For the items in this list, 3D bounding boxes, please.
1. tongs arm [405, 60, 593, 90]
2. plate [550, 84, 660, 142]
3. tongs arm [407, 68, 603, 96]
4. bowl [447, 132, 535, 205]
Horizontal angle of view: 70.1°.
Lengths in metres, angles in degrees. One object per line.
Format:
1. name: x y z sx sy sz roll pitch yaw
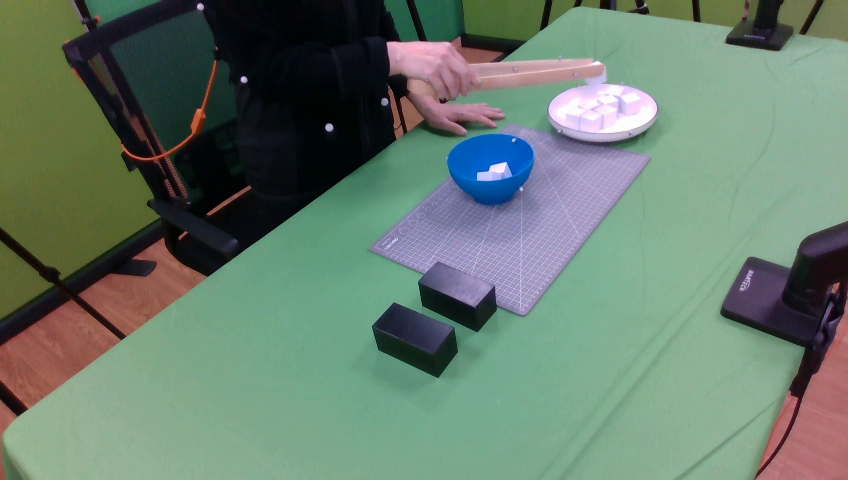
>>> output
1. tongs arm: 0.147 -0.300 1.095 0.387 0.026 0.050 -7 43 -17
2. plate: 0.355 -0.246 1.195 0.207 0.039 0.206 -5 39 5
3. tongs arm: 0.156 -0.286 1.079 0.390 0.028 0.028 -10 47 -21
4. bowl: 0.119 -0.114 1.051 0.151 0.077 0.150 -5 40 5
